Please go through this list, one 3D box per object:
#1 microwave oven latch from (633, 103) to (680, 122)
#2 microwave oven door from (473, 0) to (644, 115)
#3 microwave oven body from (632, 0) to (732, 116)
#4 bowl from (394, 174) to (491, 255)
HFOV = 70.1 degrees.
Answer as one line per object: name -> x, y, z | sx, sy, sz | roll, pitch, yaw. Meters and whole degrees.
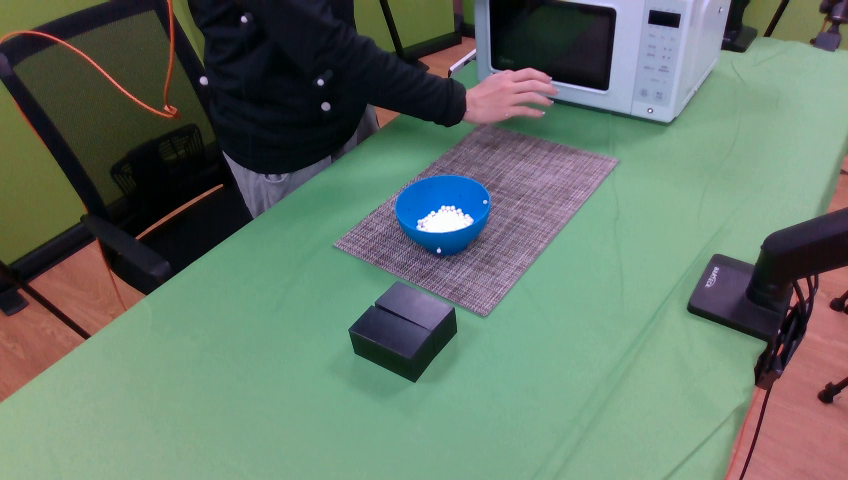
microwave oven latch -> 0.443, -0.249, 1.157 | 0.078, 0.029, 0.030 | 21, 48, 30
microwave oven door -> 0.257, -0.396, 1.199 | 0.353, 0.245, 0.039 | 21, 48, 29
microwave oven body -> 0.377, -0.462, 1.267 | 0.438, 0.261, 0.327 | 21, 48, 30
bowl -> 0.032, -0.030, 0.949 | 0.151, 0.077, 0.150 | -4, 40, 4
